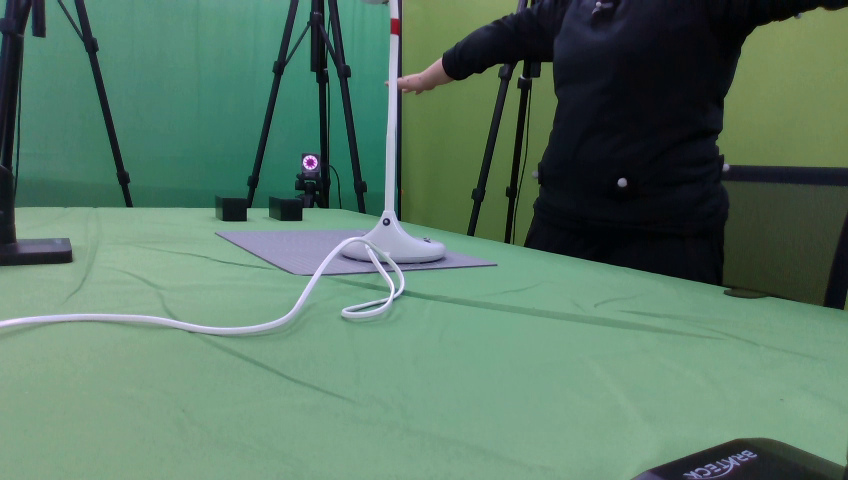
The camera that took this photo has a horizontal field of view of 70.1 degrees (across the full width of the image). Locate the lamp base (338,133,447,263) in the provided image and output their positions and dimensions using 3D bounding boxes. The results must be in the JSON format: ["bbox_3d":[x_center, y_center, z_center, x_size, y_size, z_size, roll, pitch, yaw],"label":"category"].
[{"bbox_3d":[-0.043,-0.062,0.868,0.161,0.180,0.179,2,10,-3],"label":"lamp base"}]

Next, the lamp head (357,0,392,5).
[{"bbox_3d":[-0.056,-0.383,0.819,0.113,0.112,0.122,0,13,-22],"label":"lamp head"}]
